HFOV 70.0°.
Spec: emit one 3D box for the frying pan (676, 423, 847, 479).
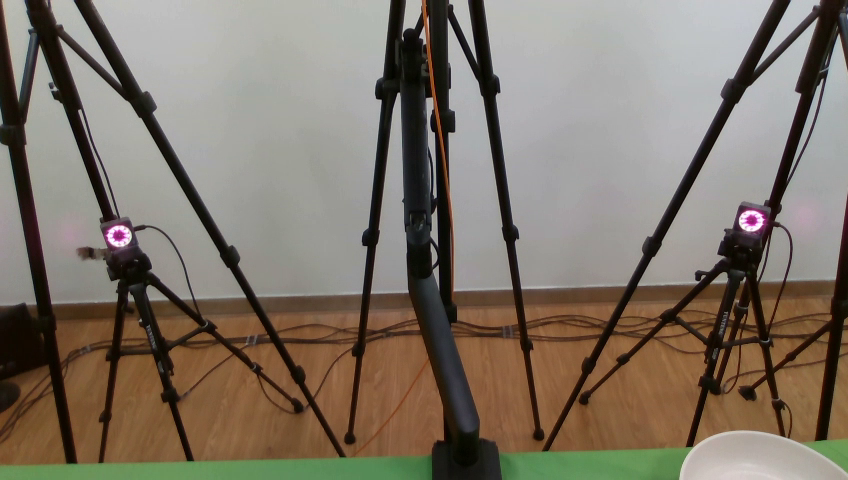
[{"bbox_3d":[0.530,0.464,0.848,0.306,0.103,0.484,1,26,6],"label":"frying pan"}]
